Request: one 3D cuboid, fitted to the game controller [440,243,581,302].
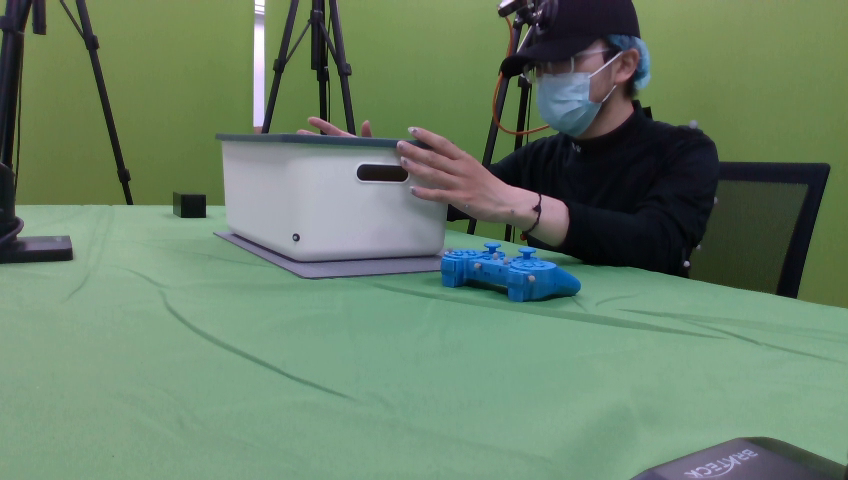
[{"bbox_3d":[0.090,0.033,0.685,0.154,0.051,0.097,8,13,42],"label":"game controller"}]

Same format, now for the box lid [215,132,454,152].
[{"bbox_3d":[-0.151,-0.149,0.941,0.265,0.015,0.369,-2,9,-33],"label":"box lid"}]

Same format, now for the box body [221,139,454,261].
[{"bbox_3d":[-0.152,-0.074,0.963,0.255,0.160,0.362,-3,9,-33],"label":"box body"}]
